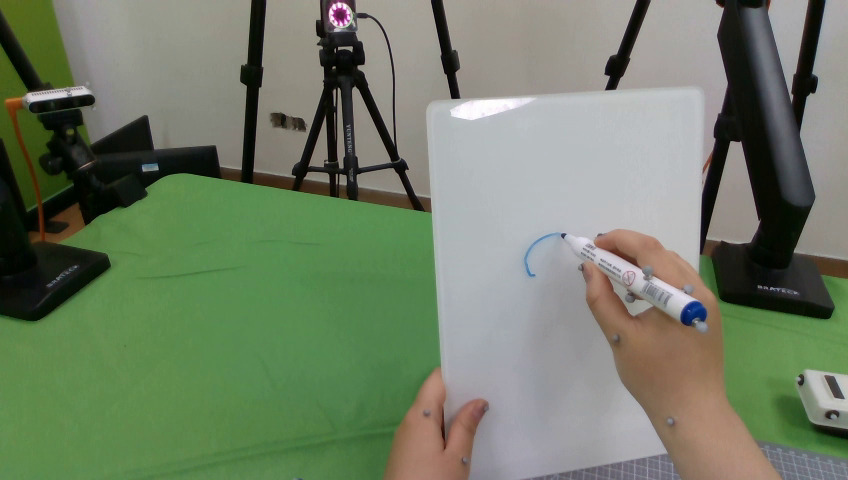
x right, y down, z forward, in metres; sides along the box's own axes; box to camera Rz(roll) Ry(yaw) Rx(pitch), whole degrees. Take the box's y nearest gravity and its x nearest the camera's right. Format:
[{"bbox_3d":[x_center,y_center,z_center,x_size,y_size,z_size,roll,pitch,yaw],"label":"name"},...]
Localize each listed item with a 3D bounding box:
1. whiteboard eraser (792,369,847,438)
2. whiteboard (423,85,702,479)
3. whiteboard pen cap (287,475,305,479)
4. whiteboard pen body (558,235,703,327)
[{"bbox_3d":[0.396,0.151,0.540,0.112,0.042,0.055,8,35,10],"label":"whiteboard eraser"},{"bbox_3d":[0.101,0.030,0.531,0.218,0.306,0.143,-5,12,-10],"label":"whiteboard"},{"bbox_3d":[-0.096,0.194,0.456,0.018,0.033,0.018,2,32,-1],"label":"whiteboard pen cap"},{"bbox_3d":[0.126,0.020,0.395,0.017,0.017,0.139,-10,23,-18],"label":"whiteboard pen body"}]
